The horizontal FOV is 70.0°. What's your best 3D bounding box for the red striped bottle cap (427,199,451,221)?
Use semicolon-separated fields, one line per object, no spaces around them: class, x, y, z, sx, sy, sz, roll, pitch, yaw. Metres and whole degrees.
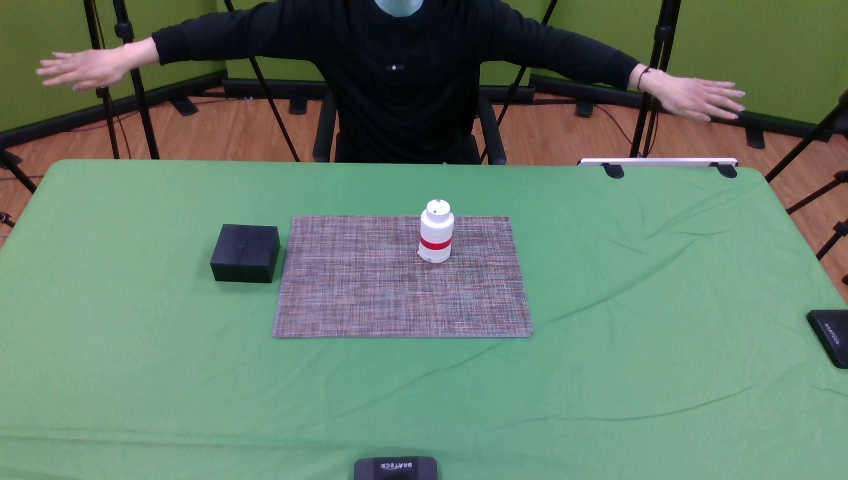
red striped bottle cap;0.027;-0.056;1.103;0.044;0.018;0.044;0;46;0

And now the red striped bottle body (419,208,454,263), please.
red striped bottle body;0.024;-0.018;1.141;0.063;0.120;0.062;2;45;-2
